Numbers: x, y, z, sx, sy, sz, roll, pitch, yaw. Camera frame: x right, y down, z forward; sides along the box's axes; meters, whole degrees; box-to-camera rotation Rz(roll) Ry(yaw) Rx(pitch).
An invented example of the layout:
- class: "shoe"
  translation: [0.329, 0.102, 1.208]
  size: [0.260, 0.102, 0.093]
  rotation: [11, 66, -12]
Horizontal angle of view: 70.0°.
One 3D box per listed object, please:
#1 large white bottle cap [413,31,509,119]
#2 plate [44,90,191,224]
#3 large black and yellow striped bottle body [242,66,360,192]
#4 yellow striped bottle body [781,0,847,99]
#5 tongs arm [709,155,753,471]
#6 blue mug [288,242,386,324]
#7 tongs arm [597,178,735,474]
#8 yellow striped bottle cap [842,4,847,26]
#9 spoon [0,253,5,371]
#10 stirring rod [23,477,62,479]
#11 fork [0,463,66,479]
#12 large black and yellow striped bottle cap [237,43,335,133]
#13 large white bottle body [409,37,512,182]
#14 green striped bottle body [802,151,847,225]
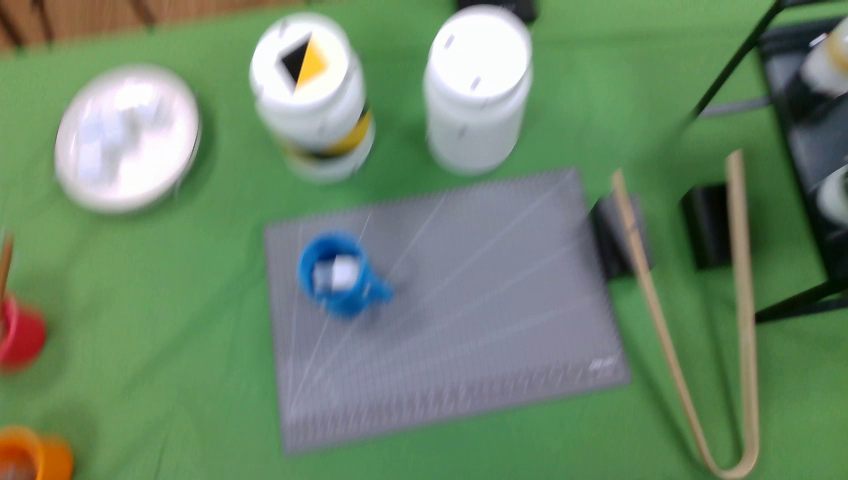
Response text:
- class: "large white bottle cap"
  translation: [0.044, -0.197, 0.720]
  size: [0.115, 0.018, 0.114]
  rotation: [0, 72, 2]
- class: "plate"
  translation: [-0.438, -0.117, 0.878]
  size: [0.207, 0.039, 0.206]
  rotation: [0, 73, 2]
- class: "large black and yellow striped bottle body"
  translation: [-0.161, -0.155, 0.804]
  size: [0.131, 0.185, 0.130]
  rotation: [-1, 72, 2]
- class: "yellow striped bottle body"
  translation: [0.441, -0.208, 0.643]
  size: [0.063, 0.121, 0.062]
  rotation: [-1, 72, 2]
- class: "tongs arm"
  translation: [0.377, 0.086, 0.753]
  size: [0.028, 0.028, 0.386]
  rotation: [-2, 84, -7]
- class: "blue mug"
  translation: [-0.104, 0.063, 0.773]
  size: [0.116, 0.106, 0.082]
  rotation: [17, 74, 7]
- class: "tongs arm"
  translation: [0.296, 0.101, 0.749]
  size: [0.051, 0.026, 0.383]
  rotation: [-15, 85, -5]
- class: "yellow striped bottle cap"
  translation: [0.438, -0.224, 0.593]
  size: [0.044, 0.019, 0.044]
  rotation: [0, 71, 0]
- class: "spoon"
  translation: [-0.539, 0.096, 0.759]
  size: [0.041, 0.021, 0.194]
  rotation: [33, 120, 15]
- class: "stirring rod"
  translation: [-0.520, 0.288, 0.698]
  size: [0.177, 0.006, 0.014]
  rotation: [10, 54, -37]
- class: "fork"
  translation: [-0.532, 0.270, 0.701]
  size: [0.209, 0.018, 0.028]
  rotation: [20, 67, -37]
- class: "large black and yellow striped bottle cap"
  translation: [-0.165, -0.183, 0.724]
  size: [0.115, 0.019, 0.114]
  rotation: [0, 73, 1]
- class: "large white bottle body"
  translation: [0.047, -0.170, 0.800]
  size: [0.130, 0.185, 0.130]
  rotation: [0, 72, 2]
- class: "green striped bottle body"
  translation: [0.437, -0.063, 0.599]
  size: [0.063, 0.120, 0.063]
  rotation: [-1, 72, 2]
